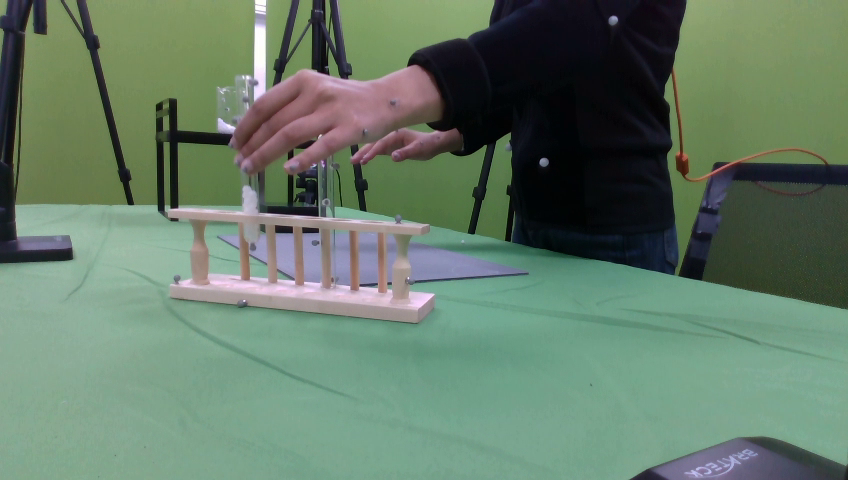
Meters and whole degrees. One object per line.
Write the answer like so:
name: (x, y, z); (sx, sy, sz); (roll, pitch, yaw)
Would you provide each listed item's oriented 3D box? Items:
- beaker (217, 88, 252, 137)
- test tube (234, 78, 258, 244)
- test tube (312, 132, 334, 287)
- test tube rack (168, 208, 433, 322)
beaker: (-0.412, -0.276, 1.309); (0.074, 0.100, 0.084); (4, 8, 16)
test tube: (-0.162, -0.071, 0.551); (0.017, 0.150, 0.017); (1, 10, 0)
test tube: (-0.097, -0.027, 0.581); (0.017, 0.150, 0.017); (0, 9, 0)
test tube rack: (-0.116, 0.017, 0.574); (0.242, 0.085, 0.067); (4, 8, 13)
